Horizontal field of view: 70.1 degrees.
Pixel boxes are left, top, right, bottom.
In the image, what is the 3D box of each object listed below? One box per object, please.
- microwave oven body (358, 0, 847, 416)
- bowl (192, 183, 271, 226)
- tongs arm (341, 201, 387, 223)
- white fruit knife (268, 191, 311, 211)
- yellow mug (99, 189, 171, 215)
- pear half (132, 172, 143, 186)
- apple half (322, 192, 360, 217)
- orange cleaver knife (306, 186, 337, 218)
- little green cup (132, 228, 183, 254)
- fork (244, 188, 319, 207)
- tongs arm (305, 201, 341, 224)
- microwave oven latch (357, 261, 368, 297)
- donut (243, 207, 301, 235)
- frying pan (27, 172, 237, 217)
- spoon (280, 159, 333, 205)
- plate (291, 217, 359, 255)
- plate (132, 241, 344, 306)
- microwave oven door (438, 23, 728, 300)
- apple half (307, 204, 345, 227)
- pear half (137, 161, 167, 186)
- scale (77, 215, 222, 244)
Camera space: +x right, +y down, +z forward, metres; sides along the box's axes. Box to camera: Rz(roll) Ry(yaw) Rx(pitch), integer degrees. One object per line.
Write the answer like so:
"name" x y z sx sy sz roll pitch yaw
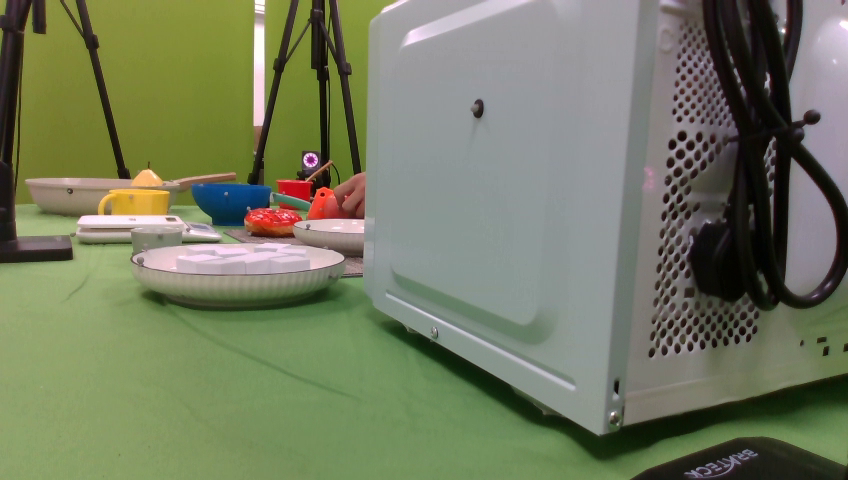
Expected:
"microwave oven body" 0.211 -0.047 0.474 0.444 0.260 0.324 -1 7 -28
"bowl" -0.382 -0.071 1.202 0.151 0.077 0.151 3 7 0
"tongs arm" -0.149 -0.069 1.430 0.051 0.026 0.383 -4 8 -14
"white fruit knife" -0.364 -0.105 1.464 0.208 0.027 0.016 15 -1 -34
"yellow mug" -0.519 -0.055 1.080 0.099 0.064 0.131 7 10 26
"pear half" -0.638 -0.113 1.361 0.031 0.088 0.070 5 10 4
"apple half" -0.146 -0.052 1.122 0.081 0.074 0.053 4 14 -20
"orange cleaver knife" -0.117 -0.057 1.160 0.212 0.077 0.012 5 16 -18
"little green cup" -0.342 0.006 0.779 0.061 0.038 0.061 2 8 0
"fork" -0.356 -0.105 1.526 0.208 0.018 0.028 16 -6 -41
"tongs arm" -0.234 -0.067 1.415 0.028 0.028 0.387 -5 7 1
"microwave oven latch" -0.019 0.033 0.530 0.079 0.029 0.030 -1 7 -26
"donut" -0.261 -0.032 1.043 0.099 0.048 0.099 4 9 0
"frying pan" -0.624 -0.118 1.387 0.305 0.102 0.490 8 17 32
"spoon" -0.316 -0.159 1.640 0.194 0.022 0.041 -50 32 -20
"plate" -0.098 -0.007 0.928 0.209 0.038 0.209 3 8 0
"plate" -0.187 0.033 0.625 0.208 0.039 0.207 2 8 0
"microwave oven door" 0.181 -0.073 0.621 0.358 0.243 0.039 -2 8 -29
"apple half" -0.192 -0.045 1.223 0.081 0.033 0.081 -20 -1 0
"pear half" -0.602 -0.120 1.354 0.056 0.110 0.076 4 11 6
"scale" -0.434 -0.019 0.963 0.202 0.031 0.148 -1 9 -27
